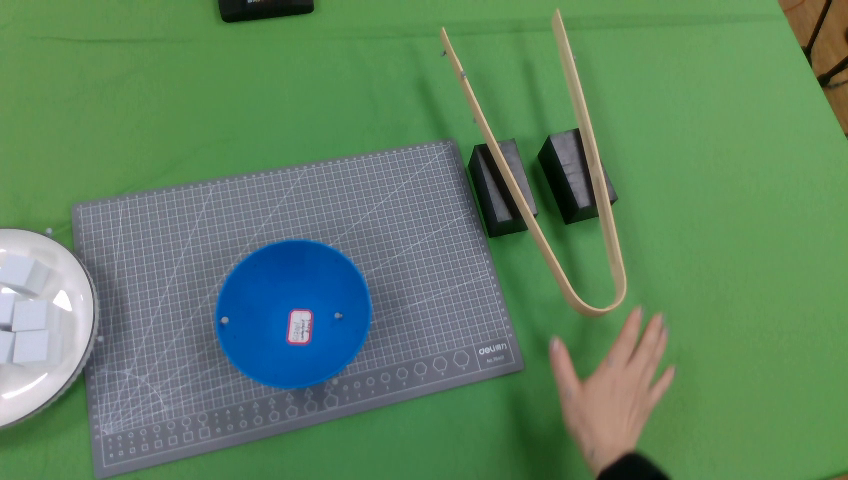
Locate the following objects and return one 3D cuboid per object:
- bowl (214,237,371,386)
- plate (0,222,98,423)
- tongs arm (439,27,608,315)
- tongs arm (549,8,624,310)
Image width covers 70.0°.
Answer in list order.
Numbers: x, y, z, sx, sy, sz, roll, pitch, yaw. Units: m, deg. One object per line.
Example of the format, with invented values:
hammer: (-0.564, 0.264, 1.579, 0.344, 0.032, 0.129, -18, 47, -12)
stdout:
bowl: (-0.131, 0.080, 0.626, 0.151, 0.077, 0.150, 2, 70, -6)
plate: (-0.436, 0.084, 0.613, 0.208, 0.039, 0.206, 2, 71, -5)
tongs arm: (0.106, -0.089, 0.693, 0.051, 0.026, 0.382, -16, 73, -13)
tongs arm: (0.183, -0.107, 0.706, 0.028, 0.028, 0.385, -3, 71, -12)
